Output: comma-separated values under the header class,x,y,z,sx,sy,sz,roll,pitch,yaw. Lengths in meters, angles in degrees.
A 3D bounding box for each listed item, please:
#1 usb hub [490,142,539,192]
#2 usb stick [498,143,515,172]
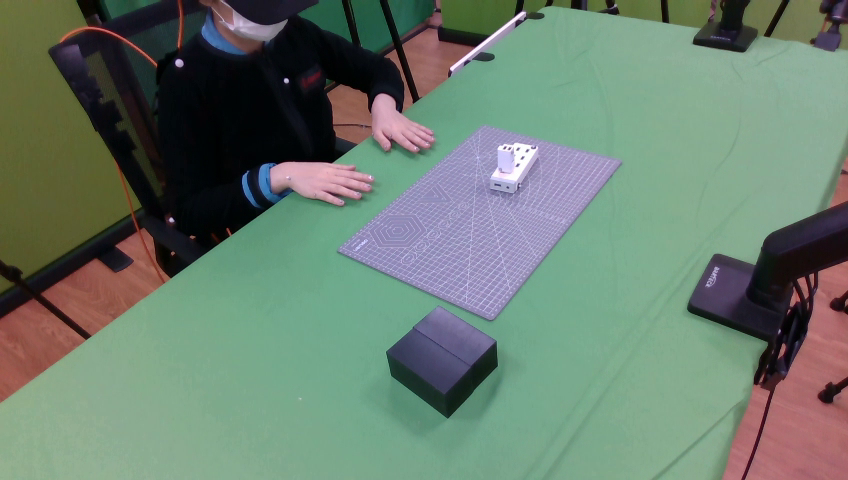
class,x,y,z,sx,sy,sz,roll,pitch,yaw
usb hub,0.165,-0.132,1.092,0.049,0.025,0.125,15,46,24
usb stick,0.144,-0.137,1.052,0.027,0.059,0.021,15,45,21
